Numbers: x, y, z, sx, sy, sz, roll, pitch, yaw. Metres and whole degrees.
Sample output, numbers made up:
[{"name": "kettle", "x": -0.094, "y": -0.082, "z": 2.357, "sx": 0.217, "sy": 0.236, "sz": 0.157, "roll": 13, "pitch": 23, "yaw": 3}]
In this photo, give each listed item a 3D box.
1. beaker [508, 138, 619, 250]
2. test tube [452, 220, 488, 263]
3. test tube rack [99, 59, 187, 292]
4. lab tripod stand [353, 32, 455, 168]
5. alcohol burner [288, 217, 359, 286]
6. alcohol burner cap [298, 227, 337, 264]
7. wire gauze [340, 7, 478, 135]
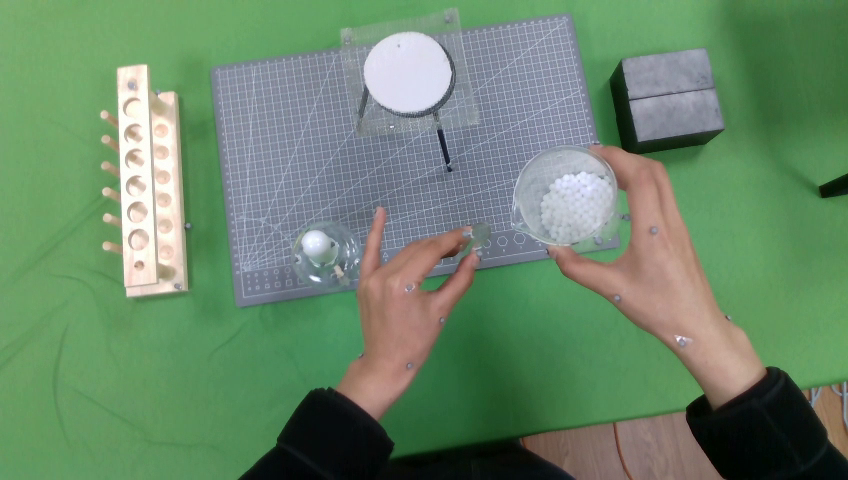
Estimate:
[{"name": "beaker", "x": 0.114, "y": -0.029, "z": 0.480, "sx": 0.084, "sy": 0.101, "sz": 0.073, "roll": -31, "pitch": 75, "yaw": 16}, {"name": "test tube", "x": 0.039, "y": 0.004, "z": 0.541, "sx": 0.017, "sy": 0.150, "sz": 0.017, "roll": 0, "pitch": 81, "yaw": -2}, {"name": "test tube rack", "x": -0.321, "y": -0.068, "z": 0.678, "sx": 0.067, "sy": 0.085, "sz": 0.241, "roll": -6, "pitch": 81, "yaw": -1}, {"name": "lab tripod stand", "x": -0.013, "y": -0.159, "z": 0.666, "sx": 0.148, "sy": 0.132, "sz": 0.147, "roll": 0, "pitch": 79, "yaw": 1}, {"name": "alcohol burner", "x": -0.110, "y": 0.010, "z": 0.648, "sx": 0.078, "sy": 0.119, "sz": 0.077, "roll": 0, "pitch": 79, "yaw": -1}, {"name": "alcohol burner cap", "x": -0.110, "y": 0.004, "z": 0.613, "sx": 0.034, "sy": 0.048, "sz": 0.033, "roll": -1, "pitch": 75, "yaw": 6}, {"name": "wire gauze", "x": -0.017, "y": -0.167, "z": 0.600, "sx": 0.125, "sy": 0.011, "sz": 0.121, "roll": -8, "pitch": 81, "yaw": -1}]
